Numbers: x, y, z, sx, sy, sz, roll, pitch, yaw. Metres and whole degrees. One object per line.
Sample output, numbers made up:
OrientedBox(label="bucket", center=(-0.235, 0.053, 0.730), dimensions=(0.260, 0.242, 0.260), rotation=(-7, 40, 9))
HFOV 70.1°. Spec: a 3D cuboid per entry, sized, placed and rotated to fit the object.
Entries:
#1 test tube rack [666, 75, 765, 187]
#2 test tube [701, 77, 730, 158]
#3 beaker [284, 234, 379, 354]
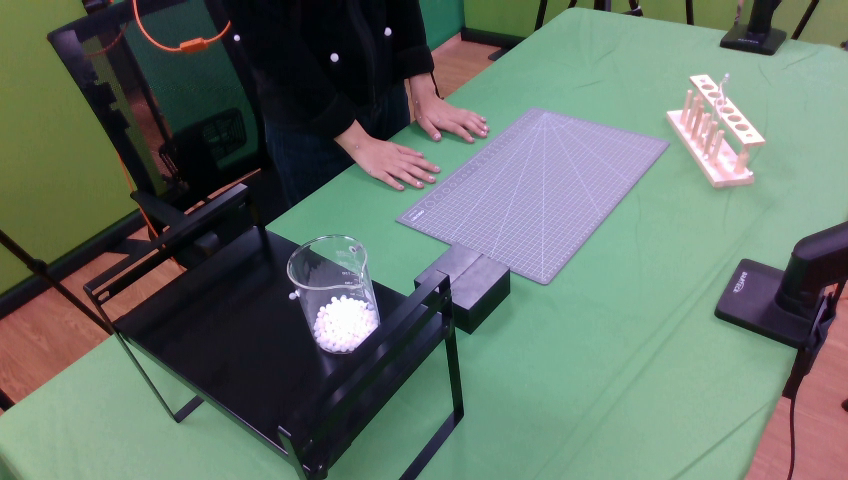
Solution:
OrientedBox(label="test tube rack", center=(0.512, -0.201, 1.082), dimensions=(0.067, 0.085, 0.241), rotation=(-6, 41, 2))
OrientedBox(label="test tube", center=(0.491, -0.204, 1.020), dimensions=(0.017, 0.151, 0.017), rotation=(-4, 41, 4))
OrientedBox(label="beaker", center=(-0.083, 0.056, 0.585), dimensions=(0.083, 0.101, 0.074), rotation=(28, 52, 33))
